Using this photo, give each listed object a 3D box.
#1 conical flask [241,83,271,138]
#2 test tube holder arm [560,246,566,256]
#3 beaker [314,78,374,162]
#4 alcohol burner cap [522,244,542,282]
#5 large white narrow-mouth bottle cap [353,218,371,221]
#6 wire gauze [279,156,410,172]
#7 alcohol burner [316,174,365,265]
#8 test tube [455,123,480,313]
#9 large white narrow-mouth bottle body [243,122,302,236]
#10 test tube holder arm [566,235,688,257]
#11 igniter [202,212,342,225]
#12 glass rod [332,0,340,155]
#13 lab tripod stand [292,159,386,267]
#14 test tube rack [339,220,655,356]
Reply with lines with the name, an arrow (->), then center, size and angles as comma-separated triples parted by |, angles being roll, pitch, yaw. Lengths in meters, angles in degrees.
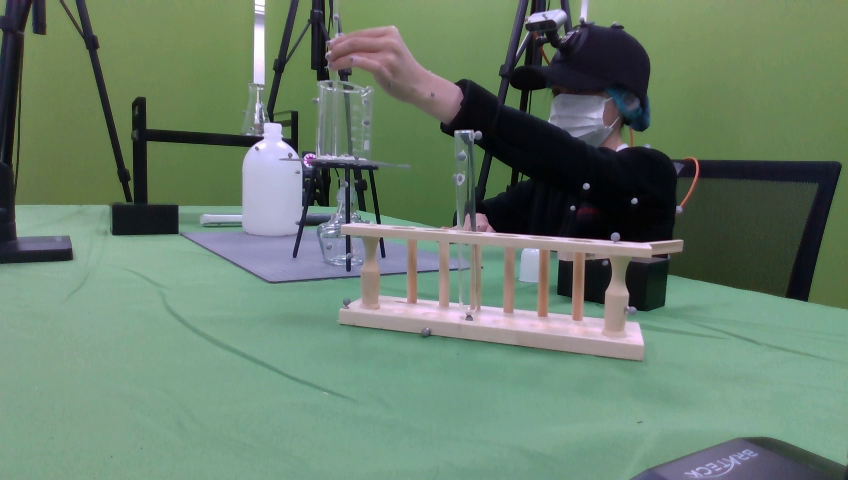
conical flask -> -0.384, -0.297, 1.393 | 0.075, 0.122, 0.075 | 2, 7, 0
test tube holder arm -> 0.173, 0.007, 0.611 | 0.088, 0.015, 0.010 | -3, 10, -29
beaker -> -0.101, -0.150, 0.773 | 0.074, 0.100, 0.083 | -2, 8, -40
alcohol burner cap -> 0.136, 0.026, 0.741 | 0.034, 0.048, 0.034 | 0, 6, 0
large white narrow-mouth bottle cap -> -0.121, -0.029, 1.184 | 0.038, 0.024, 0.037 | 2, 8, 0
wire gauze -> -0.103, -0.103, 0.785 | 0.121, 0.011, 0.126 | 11, 8, 42
alcohol burner -> -0.102, -0.028, 0.790 | 0.078, 0.119, 0.078 | 0, 6, 0
test tube -> 0.034, -0.016, 0.476 | 0.017, 0.150, 0.017 | -2, 9, 1
large white narrow-mouth bottle body -> -0.264, -0.109, 1.061 | 0.102, 0.194, 0.102 | 2, 8, 0
test tube holder arm -> 0.215, 0.006, 0.629 | 0.179, 0.015, 0.013 | -3, 10, -30
igniter -> -0.298, -0.043, 1.216 | 0.278, 0.025, 0.057 | -3, -2, -32
glass rod -> -0.110, -0.207, 0.758 | 0.008, 0.199, 0.008 | 1, 13, 0
lab tripod stand -> -0.105, -0.039, 0.797 | 0.148, 0.131, 0.148 | 2, 5, 0
test tube rack -> 0.056, 0.032, 0.495 | 0.242, 0.085, 0.067 | 4, 7, 15
